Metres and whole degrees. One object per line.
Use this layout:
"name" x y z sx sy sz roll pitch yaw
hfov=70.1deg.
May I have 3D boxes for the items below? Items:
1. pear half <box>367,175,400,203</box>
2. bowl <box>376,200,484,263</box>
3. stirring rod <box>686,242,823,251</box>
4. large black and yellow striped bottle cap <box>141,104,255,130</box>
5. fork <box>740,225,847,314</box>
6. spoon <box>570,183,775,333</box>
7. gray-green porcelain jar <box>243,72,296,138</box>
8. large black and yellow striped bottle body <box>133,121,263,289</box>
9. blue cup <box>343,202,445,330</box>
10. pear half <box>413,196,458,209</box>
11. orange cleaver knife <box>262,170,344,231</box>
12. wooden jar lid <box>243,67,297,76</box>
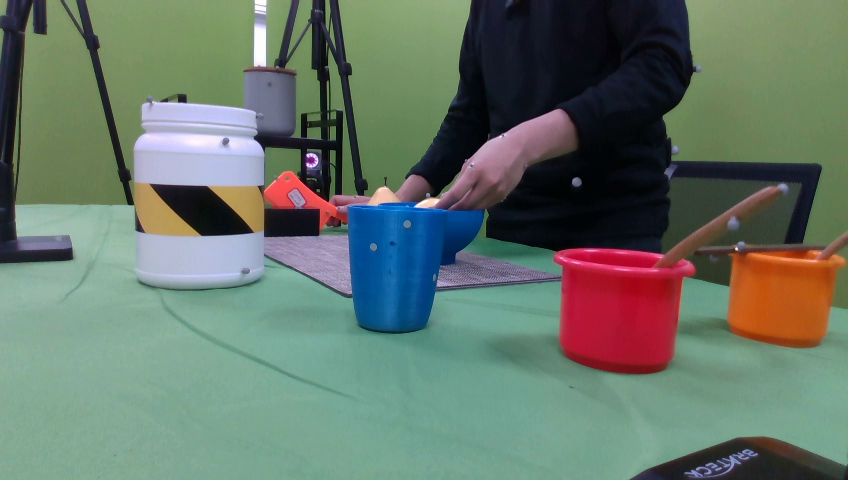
"pear half" -0.064 -0.061 1.077 0.055 0.110 0.077 9 13 39
"bowl" 0.007 -0.012 0.842 0.151 0.077 0.151 3 8 0
"stirring rod" 0.289 0.005 0.525 0.177 0.006 0.014 -1 5 -26
"large black and yellow striped bottle cap" -0.241 -0.131 0.650 0.115 0.019 0.115 3 8 0
"fork" 0.323 0.013 0.485 0.028 0.018 0.207 8 -37 -5
"spoon" 0.160 0.020 0.413 0.042 0.021 0.193 0 -36 -24
"gray-green porcelain jar" -0.322 -0.279 1.263 0.106 0.126 0.106 3 8 0
"large black and yellow striped bottle body" -0.243 -0.048 0.659 0.131 0.184 0.130 2 7 0
"blue cup" -0.027 0.021 0.510 0.093 0.100 0.092 3 5 0
"pear half" 0.006 -0.043 0.852 0.088 0.031 0.070 8 -39 -38
"orange cleaver knife" -0.201 -0.057 1.136 0.212 0.077 0.012 31 -2 -31
"wooden jar lid" -0.319 -0.342 1.254 0.108 0.020 0.108 3 8 0
